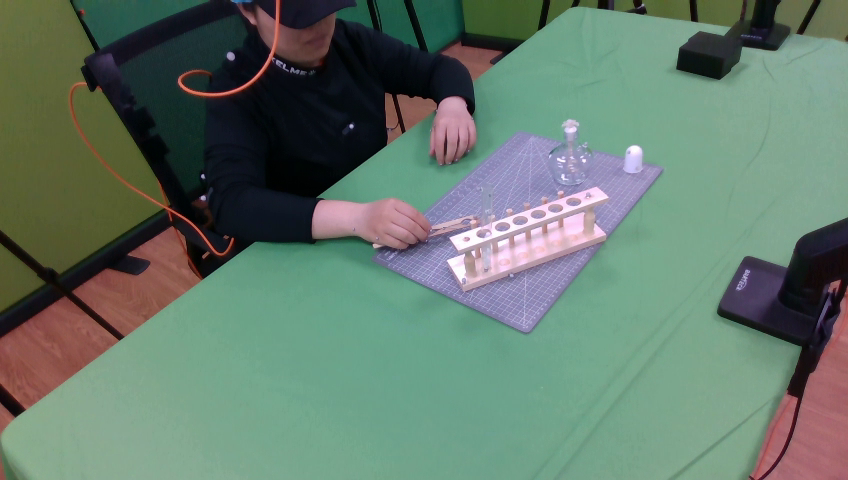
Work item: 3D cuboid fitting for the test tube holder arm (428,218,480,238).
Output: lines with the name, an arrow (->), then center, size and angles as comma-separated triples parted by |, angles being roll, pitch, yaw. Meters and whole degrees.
test tube holder arm -> 0.048, -0.020, 0.983 | 0.088, 0.015, 0.010 | -15, 83, -3

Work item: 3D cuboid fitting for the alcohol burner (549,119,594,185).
alcohol burner -> 0.254, -0.155, 1.043 | 0.078, 0.120, 0.077 | -7, 40, 6

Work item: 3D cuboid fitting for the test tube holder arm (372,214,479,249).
test tube holder arm -> 0.003, -0.013, 0.982 | 0.178, 0.015, 0.013 | -14, 83, -3

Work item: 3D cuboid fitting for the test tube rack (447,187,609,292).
test tube rack -> 0.155, -0.011, 0.913 | 0.243, 0.085, 0.066 | -19, 41, -11

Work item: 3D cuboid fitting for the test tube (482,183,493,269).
test tube -> 0.090, -0.016, 0.854 | 0.017, 0.151, 0.017 | -2, 39, 2

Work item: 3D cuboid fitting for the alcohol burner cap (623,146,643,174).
alcohol burner cap -> 0.369, -0.142, 1.061 | 0.034, 0.048, 0.033 | -7, 40, 6
